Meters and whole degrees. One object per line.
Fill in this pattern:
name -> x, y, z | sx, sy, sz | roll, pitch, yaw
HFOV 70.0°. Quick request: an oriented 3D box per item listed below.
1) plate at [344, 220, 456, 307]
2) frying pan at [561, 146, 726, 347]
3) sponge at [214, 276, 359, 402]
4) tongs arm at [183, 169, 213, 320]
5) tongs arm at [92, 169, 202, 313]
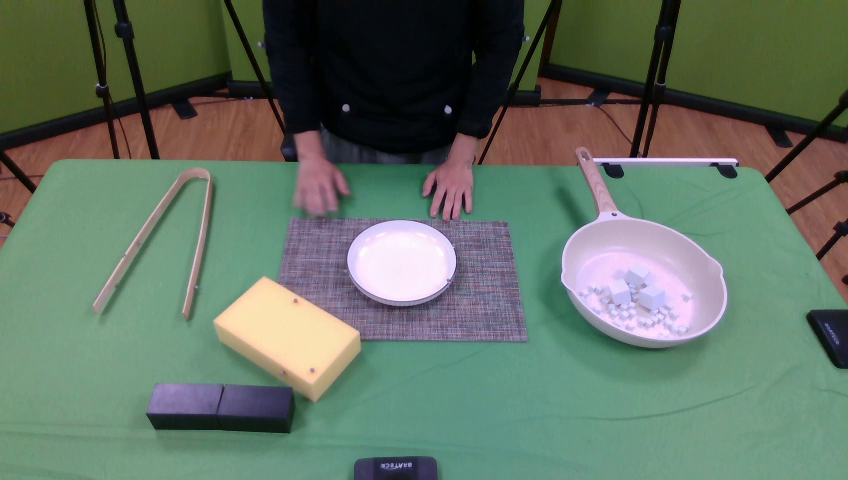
plate -> -0.044, 0.047, 1.133 | 0.208, 0.039, 0.206 | 3, 46, -2
frying pan -> 0.378, -0.005, 1.175 | 0.307, 0.103, 0.484 | -4, 55, -9
sponge -> -0.224, 0.158, 0.998 | 0.206, 0.061, 0.118 | 27, 52, 18
tongs arm -> -0.436, -0.006, 1.166 | 0.028, 0.028, 0.385 | -5, 46, -6
tongs arm -> -0.518, -0.012, 1.161 | 0.051, 0.026, 0.382 | 7, 45, 1
